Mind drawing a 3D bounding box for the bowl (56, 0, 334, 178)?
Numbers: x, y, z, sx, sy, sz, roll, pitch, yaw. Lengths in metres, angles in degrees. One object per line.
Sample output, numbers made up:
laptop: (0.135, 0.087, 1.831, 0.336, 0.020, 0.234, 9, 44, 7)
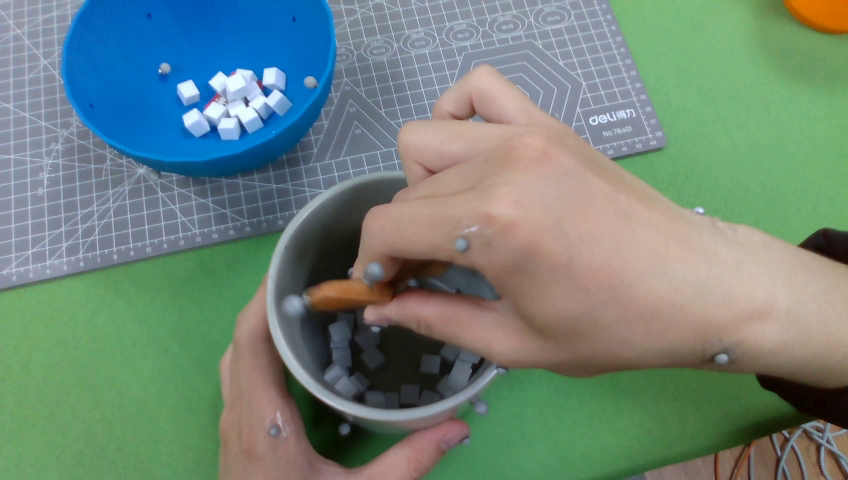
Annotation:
bowl: (-0.125, -0.095, 0.369, 0.151, 0.077, 0.150, 0, 70, -1)

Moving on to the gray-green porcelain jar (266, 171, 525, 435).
gray-green porcelain jar: (-0.012, 0.041, 0.300, 0.106, 0.127, 0.105, 0, 70, -1)
